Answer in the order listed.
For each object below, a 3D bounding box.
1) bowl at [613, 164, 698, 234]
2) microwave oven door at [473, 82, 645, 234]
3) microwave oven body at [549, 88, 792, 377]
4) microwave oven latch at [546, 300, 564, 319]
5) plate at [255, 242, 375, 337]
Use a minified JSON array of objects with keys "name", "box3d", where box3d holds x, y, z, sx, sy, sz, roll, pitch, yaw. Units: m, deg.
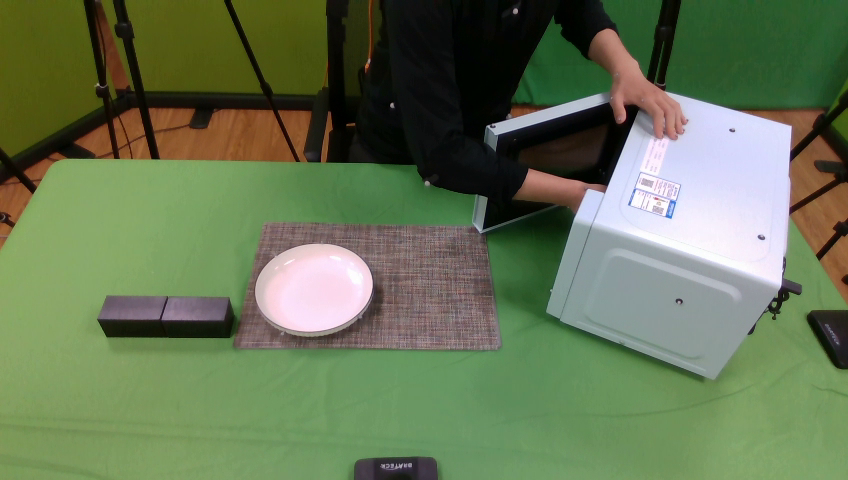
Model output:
[{"name":"bowl","box3d":[0.431,-0.064,1.147,0.151,0.077,0.150,-4,50,5]},{"name":"microwave oven door","box3d":[0.266,-0.163,1.196,0.356,0.245,0.039,-20,49,-21]},{"name":"microwave oven body","box3d":[0.456,-0.028,1.088,0.325,0.261,0.440,20,47,16]},{"name":"microwave oven latch","box3d":[0.242,0.102,1.081,0.030,0.029,0.079,22,48,17]},{"name":"plate","box3d":[-0.192,0.090,1.079,0.208,0.039,0.206,2,46,-2]}]
